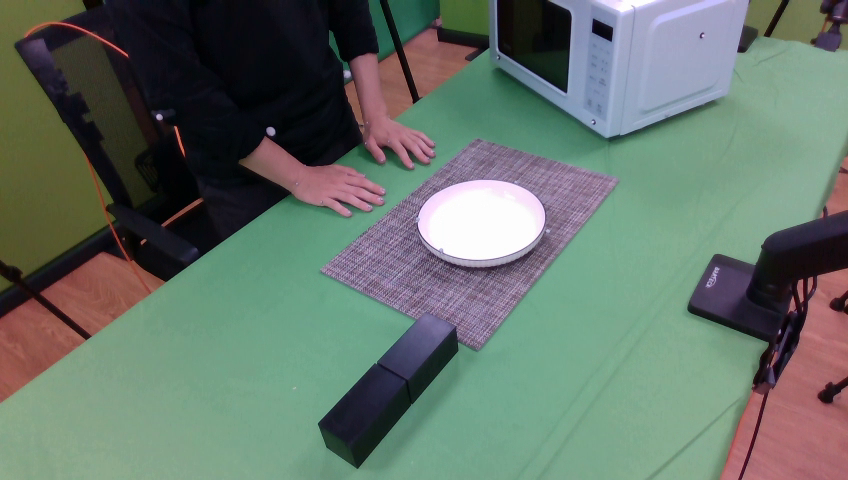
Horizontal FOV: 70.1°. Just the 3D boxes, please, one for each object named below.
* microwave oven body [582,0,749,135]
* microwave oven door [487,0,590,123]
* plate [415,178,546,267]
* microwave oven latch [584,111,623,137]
[{"bbox_3d":[0.382,-0.444,1.246,0.327,0.261,0.437,-22,42,-16],"label":"microwave oven body"},{"bbox_3d":[0.232,-0.420,1.230,0.039,0.245,0.352,-22,42,-16],"label":"microwave oven door"},{"bbox_3d":[0.091,-0.026,0.970,0.207,0.039,0.206,-4,41,4],"label":"plate"},{"bbox_3d":[0.337,-0.222,1.142,0.030,0.029,0.078,-21,42,-14],"label":"microwave oven latch"}]
